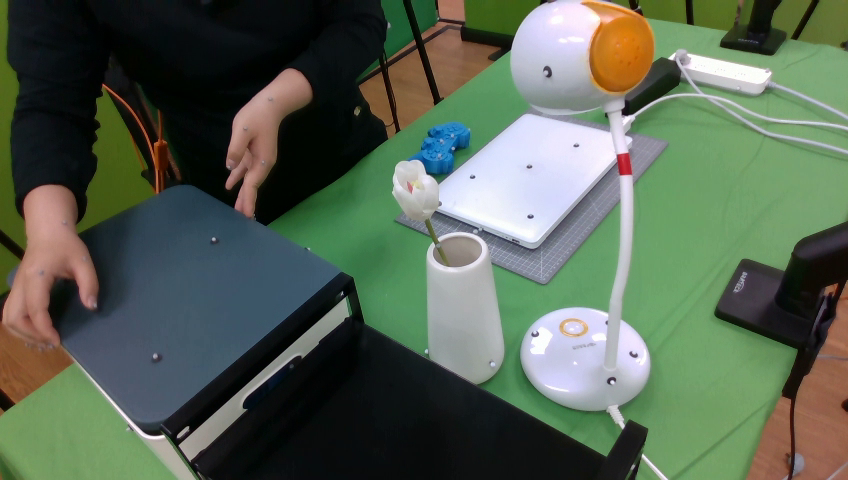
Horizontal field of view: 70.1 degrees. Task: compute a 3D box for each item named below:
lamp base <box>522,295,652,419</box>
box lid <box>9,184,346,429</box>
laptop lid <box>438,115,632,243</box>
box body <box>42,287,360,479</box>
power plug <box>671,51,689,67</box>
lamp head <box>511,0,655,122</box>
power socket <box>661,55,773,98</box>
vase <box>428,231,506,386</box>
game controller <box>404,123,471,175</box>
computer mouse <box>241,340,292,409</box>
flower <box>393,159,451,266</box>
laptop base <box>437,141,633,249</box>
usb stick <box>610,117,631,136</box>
[{"bbox_3d":[0.201,0.095,0.710,0.161,0.181,0.178,-16,43,-10],"label":"lamp base"},{"bbox_3d":[-0.299,0.049,0.722,0.368,0.015,0.264,26,48,33],"label":"box lid"},{"bbox_3d":[0.189,-0.126,1.081,0.239,0.013,0.358,23,48,35],"label":"laptop lid"},{"bbox_3d":[-0.288,0.118,0.772,0.361,0.161,0.255,26,50,33],"label":"box body"},{"bbox_3d":[0.541,-0.378,1.301,0.073,0.053,0.035,-32,46,-23],"label":"power plug"},{"bbox_3d":[0.155,-0.168,0.563,0.113,0.113,0.122,-18,23,-12],"label":"lamp head"},{"bbox_3d":[0.619,-0.352,1.289,0.225,0.033,0.072,26,51,33],"label":"power socket"},{"bbox_3d":[0.050,0.087,0.728,0.098,0.201,0.097,-3,40,3],"label":"vase"},{"bbox_3d":[0.028,-0.182,1.169,0.096,0.052,0.155,16,45,18],"label":"game controller"},{"bbox_3d":[-0.201,0.178,0.777,0.063,0.041,0.116,-12,47,-10],"label":"computer mouse"},{"bbox_3d":[0.028,0.035,0.665,0.043,0.364,0.038,34,72,29],"label":"flower"},{"bbox_3d":[0.193,-0.117,1.087,0.233,0.023,0.355,21,47,34],"label":"laptop base"},{"bbox_3d":[0.369,-0.208,1.147,0.021,0.027,0.059,26,56,33],"label":"usb stick"}]
